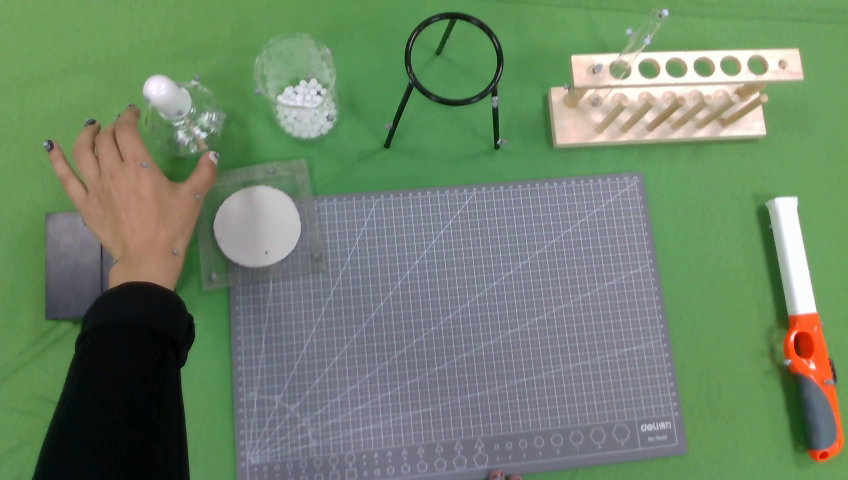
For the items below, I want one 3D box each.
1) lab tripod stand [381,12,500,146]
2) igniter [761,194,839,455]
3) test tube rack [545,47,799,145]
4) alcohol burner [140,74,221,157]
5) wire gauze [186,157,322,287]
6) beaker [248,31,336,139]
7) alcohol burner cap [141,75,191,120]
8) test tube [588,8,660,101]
[{"bbox_3d":[0.018,-0.155,0.604,0.148,0.132,0.147,1,79,-3],"label":"lab tripod stand"},{"bbox_3d":[0.403,0.086,0.649,0.057,0.025,0.275,-2,80,-16],"label":"igniter"},{"bbox_3d":[0.261,-0.153,0.649,0.243,0.085,0.066,-4,80,-5],"label":"test tube rack"},{"bbox_3d":[-0.240,-0.125,0.586,0.078,0.119,0.077,1,78,-4],"label":"alcohol burner"},{"bbox_3d":[-0.176,-0.020,0.623,0.125,0.011,0.121,-10,80,-6],"label":"wire gauze"},{"bbox_3d":[-0.125,-0.147,0.607,0.074,0.100,0.084,-35,85,-9],"label":"beaker"},{"bbox_3d":[-0.237,-0.131,0.550,0.034,0.048,0.034,0,84,0],"label":"alcohol burner cap"},{"bbox_3d":[0.192,-0.177,0.597,0.017,0.151,0.017,1,75,-4],"label":"test tube"}]
